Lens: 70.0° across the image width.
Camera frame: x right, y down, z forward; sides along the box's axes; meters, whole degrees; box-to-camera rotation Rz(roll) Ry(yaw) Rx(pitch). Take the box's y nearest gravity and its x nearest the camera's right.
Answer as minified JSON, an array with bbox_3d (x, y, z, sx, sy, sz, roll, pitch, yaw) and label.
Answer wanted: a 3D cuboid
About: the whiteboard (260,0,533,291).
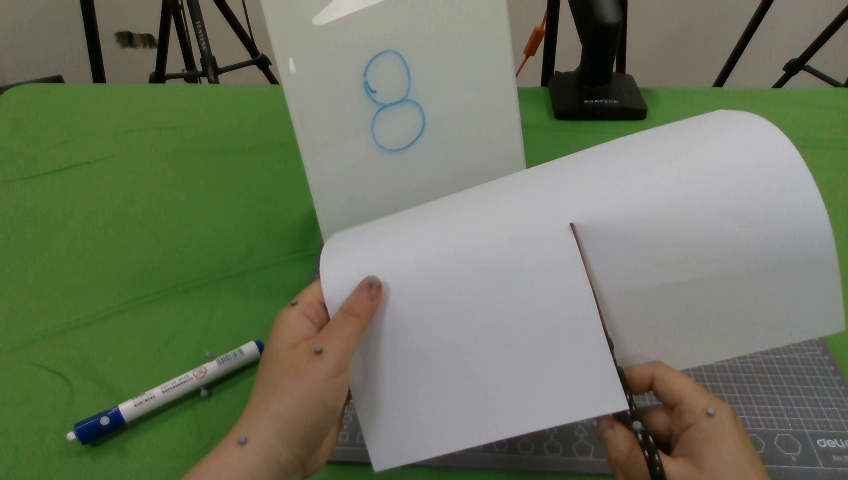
[{"bbox_3d":[-0.036,-0.142,0.598,0.218,0.307,0.142,-18,22,-17],"label":"whiteboard"}]

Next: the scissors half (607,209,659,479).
[{"bbox_3d":[0.115,0.068,0.347,0.013,0.040,0.174,-2,81,-8],"label":"scissors half"}]

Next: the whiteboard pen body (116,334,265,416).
[{"bbox_3d":[-0.192,0.109,0.473,0.141,0.017,0.017,-24,45,-28],"label":"whiteboard pen body"}]

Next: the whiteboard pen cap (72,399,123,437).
[{"bbox_3d":[-0.239,0.130,0.447,0.033,0.018,0.018,-26,46,-28],"label":"whiteboard pen cap"}]

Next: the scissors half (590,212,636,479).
[{"bbox_3d":[0.112,0.070,0.365,0.013,0.175,0.040,-1,2,-14],"label":"scissors half"}]

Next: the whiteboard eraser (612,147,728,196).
[{"bbox_3d":[0.269,-0.076,0.668,0.113,0.042,0.055,0,42,0],"label":"whiteboard eraser"}]
